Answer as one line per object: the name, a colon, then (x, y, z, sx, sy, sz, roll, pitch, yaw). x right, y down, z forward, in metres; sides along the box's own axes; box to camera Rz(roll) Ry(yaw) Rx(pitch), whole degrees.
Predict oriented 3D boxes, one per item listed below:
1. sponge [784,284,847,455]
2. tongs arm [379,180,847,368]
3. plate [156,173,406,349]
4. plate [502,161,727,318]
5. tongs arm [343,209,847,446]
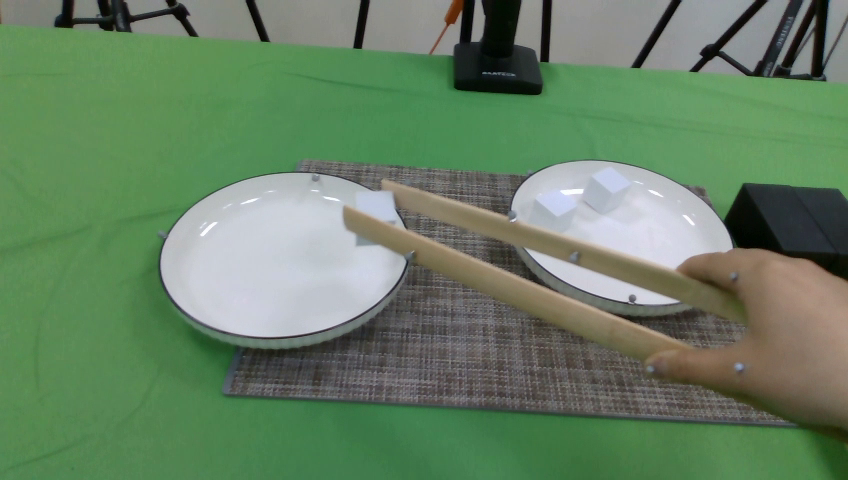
sponge: (0.374, 0.128, 0.449, 0.118, 0.061, 0.204, 1, 43, -4)
tongs arm: (0.117, 0.029, 0.397, 0.382, 0.027, 0.050, 19, 45, 25)
plate: (-0.119, 0.016, 0.529, 0.209, 0.038, 0.207, 3, 42, -3)
plate: (0.176, -0.001, 0.580, 0.208, 0.039, 0.205, 3, 43, -3)
tongs arm: (0.100, 0.045, 0.380, 0.384, 0.028, 0.028, 21, 42, 27)
